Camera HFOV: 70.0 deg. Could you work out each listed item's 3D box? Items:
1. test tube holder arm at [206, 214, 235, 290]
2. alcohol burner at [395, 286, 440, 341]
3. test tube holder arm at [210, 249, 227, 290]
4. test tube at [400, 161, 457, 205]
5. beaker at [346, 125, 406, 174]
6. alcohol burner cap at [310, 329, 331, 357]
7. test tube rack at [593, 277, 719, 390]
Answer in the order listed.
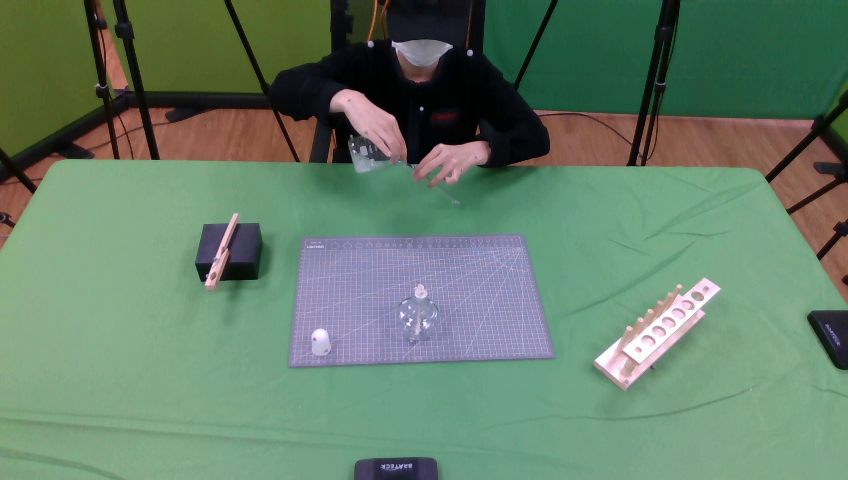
[{"bbox_3d":[-0.364,0.017,1.090,0.013,0.015,0.177,7,45,-8],"label":"test tube holder arm"},{"bbox_3d":[-0.010,0.116,1.018,0.078,0.119,0.077,3,47,-3],"label":"alcohol burner"},{"bbox_3d":[-0.359,0.050,1.059,0.010,0.015,0.087,8,45,-8],"label":"test tube holder arm"},{"bbox_3d":[0.012,-0.113,1.218,0.151,0.017,0.017,34,36,-31],"label":"test tube"},{"bbox_3d":[-0.092,-0.168,1.155,0.100,0.084,0.073,-15,33,-7],"label":"beaker"},{"bbox_3d":[-0.173,0.168,1.005,0.034,0.048,0.033,2,46,-2],"label":"alcohol burner cap"},{"bbox_3d":[0.401,0.148,1.043,0.242,0.085,0.066,-30,55,-29],"label":"test tube rack"}]
